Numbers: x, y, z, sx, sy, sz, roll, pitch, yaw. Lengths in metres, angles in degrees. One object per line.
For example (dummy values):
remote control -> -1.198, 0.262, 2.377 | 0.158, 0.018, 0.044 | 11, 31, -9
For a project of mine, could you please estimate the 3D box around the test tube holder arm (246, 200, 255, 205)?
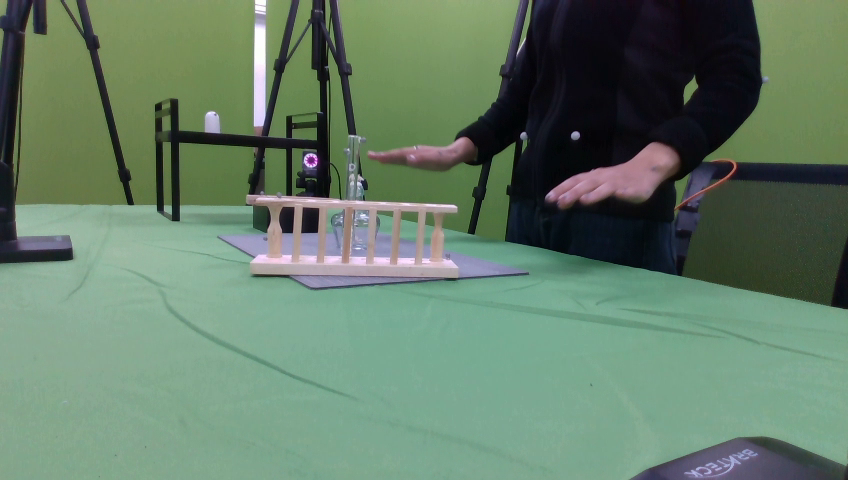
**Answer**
test tube holder arm -> -0.283, -0.072, 1.118 | 0.088, 0.010, 0.015 | -6, 21, -31

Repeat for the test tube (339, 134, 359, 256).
test tube -> -0.092, -0.054, 0.743 | 0.017, 0.150, 0.017 | 4, 5, 0

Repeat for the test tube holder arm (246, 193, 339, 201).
test tube holder arm -> -0.244, -0.081, 1.140 | 0.179, 0.013, 0.015 | -6, 21, -31

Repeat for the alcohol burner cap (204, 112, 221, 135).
alcohol burner cap -> -0.444, -0.245, 1.270 | 0.034, 0.048, 0.034 | 4, 8, 0

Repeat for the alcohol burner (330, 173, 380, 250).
alcohol burner -> -0.107, -0.044, 0.938 | 0.078, 0.119, 0.078 | 1, 6, 0

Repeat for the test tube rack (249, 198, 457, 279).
test tube rack -> -0.082, -0.002, 0.733 | 0.243, 0.085, 0.066 | 2, 8, -8
